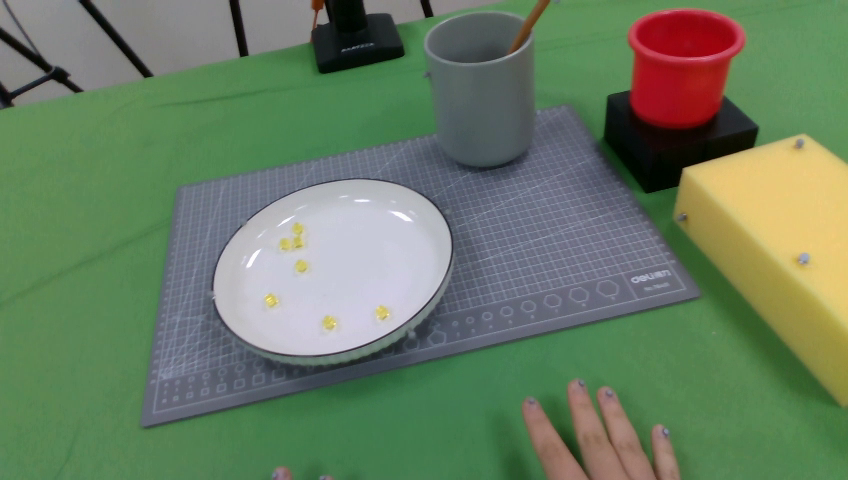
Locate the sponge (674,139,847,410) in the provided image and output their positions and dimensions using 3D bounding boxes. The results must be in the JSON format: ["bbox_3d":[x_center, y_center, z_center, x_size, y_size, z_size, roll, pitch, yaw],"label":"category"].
[{"bbox_3d":[0.305,0.014,0.464,0.118,0.061,0.204,-17,44,-7],"label":"sponge"}]

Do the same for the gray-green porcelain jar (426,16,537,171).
[{"bbox_3d":[0.061,-0.143,0.612,0.106,0.128,0.105,-5,45,5],"label":"gray-green porcelain jar"}]

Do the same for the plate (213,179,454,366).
[{"bbox_3d":[-0.075,0.026,0.529,0.207,0.039,0.205,-5,45,5],"label":"plate"}]

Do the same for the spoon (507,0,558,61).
[{"bbox_3d":[0.087,-0.169,0.580,0.022,0.194,0.041,19,39,-10],"label":"spoon"}]
